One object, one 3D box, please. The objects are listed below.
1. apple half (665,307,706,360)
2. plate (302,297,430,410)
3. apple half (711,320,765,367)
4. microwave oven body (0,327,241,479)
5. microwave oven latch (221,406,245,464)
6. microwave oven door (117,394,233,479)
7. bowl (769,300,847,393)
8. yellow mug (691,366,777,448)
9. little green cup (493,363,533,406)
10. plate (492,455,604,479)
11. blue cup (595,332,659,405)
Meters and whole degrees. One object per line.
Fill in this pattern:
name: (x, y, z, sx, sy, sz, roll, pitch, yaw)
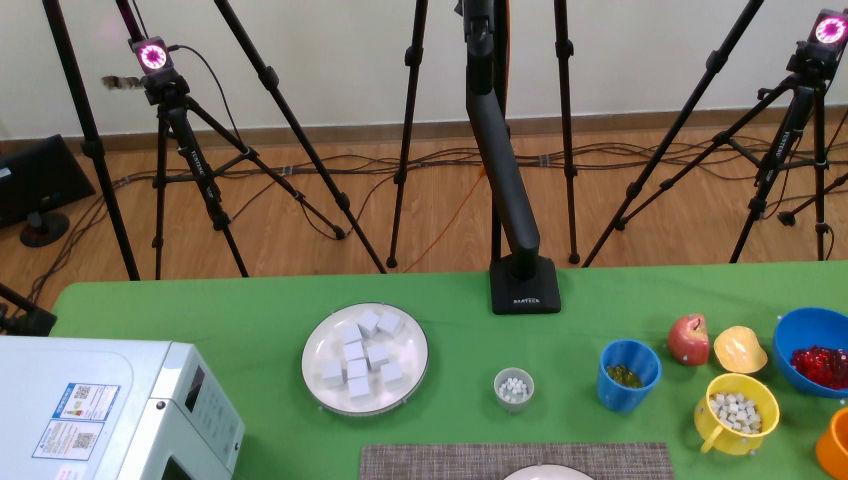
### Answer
apple half: (0.414, 0.150, 0.968, 0.053, 0.075, 0.080, 0, 53, 10)
plate: (-0.094, 0.187, 0.995, 0.207, 0.039, 0.205, -2, 49, 2)
apple half: (0.497, 0.171, 0.971, 0.081, 0.033, 0.080, -5, 63, 9)
microwave oven body: (-0.454, 0.355, 0.721, 0.326, 0.262, 0.437, 1, 50, 5)
microwave oven latch: (-0.288, 0.287, 0.896, 0.030, 0.030, 0.078, 3, 50, 6)
microwave oven door: (-0.312, 0.386, 0.678, 0.039, 0.246, 0.352, 1, 49, 5)
bowl: (0.601, 0.176, 0.930, 0.151, 0.077, 0.150, -2, 50, 3)
yellow mug: (0.440, 0.253, 0.882, 0.131, 0.064, 0.099, -35, 56, -22)
little green cup: (0.138, 0.227, 0.944, 0.061, 0.039, 0.061, -2, 48, 3)
plate: (0.168, 0.391, 0.795, 0.209, 0.038, 0.207, -2, 49, 3)
blue cup: (0.298, 0.202, 0.913, 0.092, 0.101, 0.091, -2, 51, 3)
